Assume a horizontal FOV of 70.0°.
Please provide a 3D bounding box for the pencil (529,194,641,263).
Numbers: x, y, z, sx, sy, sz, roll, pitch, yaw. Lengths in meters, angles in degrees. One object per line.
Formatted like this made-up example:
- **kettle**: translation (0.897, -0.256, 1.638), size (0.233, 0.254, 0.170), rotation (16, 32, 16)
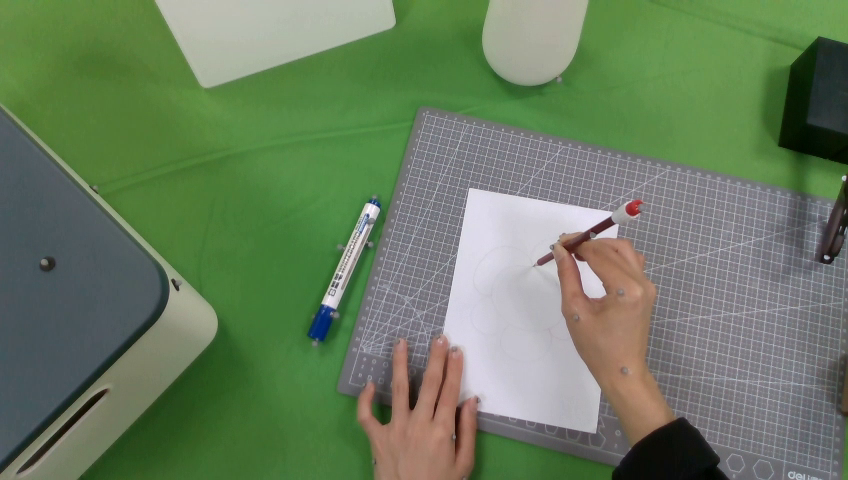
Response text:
- **pencil**: translation (0.120, -0.002, 0.488), size (0.012, 0.194, 0.012), rotation (3, 75, -11)

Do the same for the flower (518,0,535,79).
- **flower**: translation (0.098, -0.271, 0.479), size (0.044, 0.365, 0.038), rotation (7, 56, 6)

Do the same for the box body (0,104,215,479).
- **box body**: translation (-0.389, 0.029, 0.496), size (0.362, 0.161, 0.254), rotation (40, 78, 10)

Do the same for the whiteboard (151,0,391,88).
- **whiteboard**: translation (-0.176, -0.334, 0.558), size (0.217, 0.308, 0.142), rotation (-20, 55, -5)

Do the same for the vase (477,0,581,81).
- **vase**: translation (0.102, -0.234, 0.554), size (0.098, 0.201, 0.097), rotation (0, 72, 1)

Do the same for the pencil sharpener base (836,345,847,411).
- **pencil sharpener base**: translation (0.415, 0.121, 0.502), size (0.076, 0.107, 0.061), rotation (18, 74, 2)

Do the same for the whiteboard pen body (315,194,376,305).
- **whiteboard pen body**: translation (-0.077, 0.019, 0.575), size (0.017, 0.017, 0.140), rotation (20, 73, 6)

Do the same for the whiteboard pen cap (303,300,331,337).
- **whiteboard pen cap**: translation (-0.097, 0.072, 0.558), size (0.018, 0.018, 0.033), rotation (20, 71, 6)

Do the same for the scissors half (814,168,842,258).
- **scissors half**: translation (0.397, -0.068, 0.571), size (0.012, 0.040, 0.175), rotation (16, 94, 29)

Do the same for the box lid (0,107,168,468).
- **box lid**: translation (-0.391, 0.007, 0.425), size (0.370, 0.015, 0.263), rotation (40, 77, 10)

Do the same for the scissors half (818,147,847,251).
- **scissors half**: translation (0.389, -0.072, 0.553), size (0.013, 0.040, 0.174), rotation (17, 76, 24)
